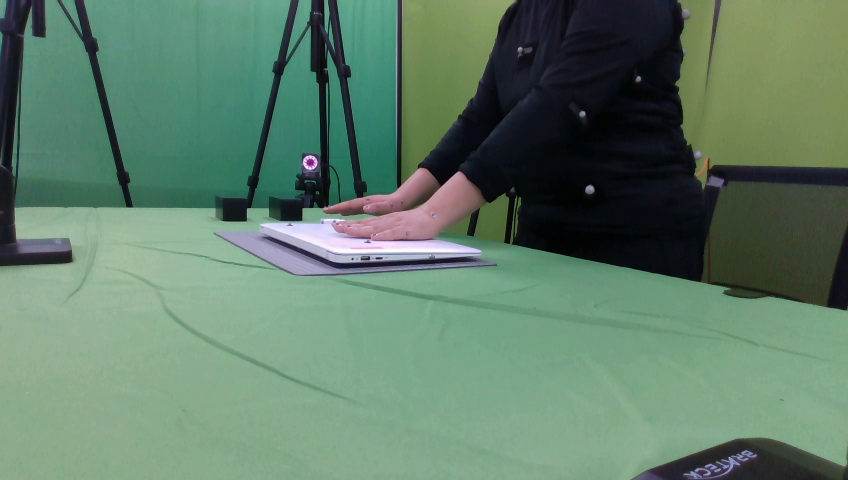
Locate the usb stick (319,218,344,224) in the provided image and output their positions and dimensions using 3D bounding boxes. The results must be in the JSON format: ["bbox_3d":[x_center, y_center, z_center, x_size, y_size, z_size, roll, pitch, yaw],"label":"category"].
[{"bbox_3d":[-0.183,-0.027,1.153,0.059,0.027,0.021,-6,13,-30],"label":"usb stick"}]

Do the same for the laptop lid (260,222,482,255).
[{"bbox_3d":[-0.100,-0.005,0.962,0.243,0.013,0.355,1,7,-30],"label":"laptop lid"}]

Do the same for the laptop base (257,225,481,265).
[{"bbox_3d":[-0.102,0.007,0.962,0.237,0.023,0.352,2,6,-32],"label":"laptop base"}]
